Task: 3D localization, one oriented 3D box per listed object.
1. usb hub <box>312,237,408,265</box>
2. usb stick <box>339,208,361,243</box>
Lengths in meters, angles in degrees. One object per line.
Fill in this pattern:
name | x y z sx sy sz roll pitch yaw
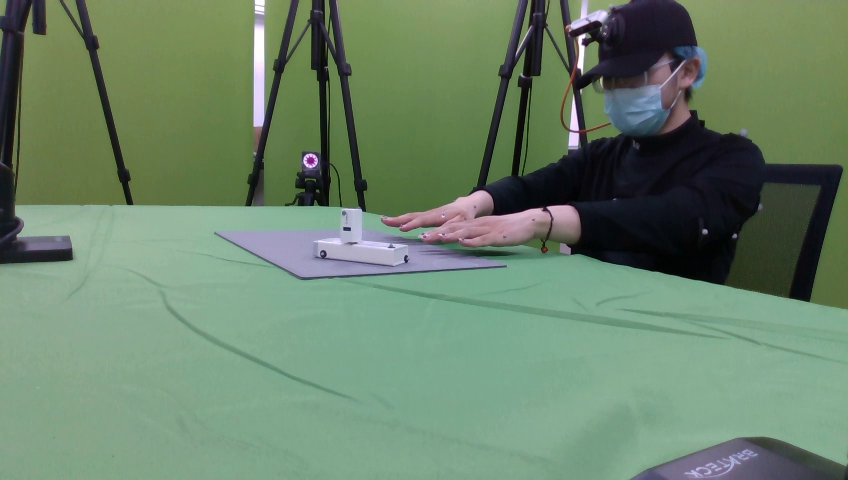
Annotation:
usb hub | -0.088 0.014 0.829 0.125 0.025 0.050 5 8 22
usb stick | -0.100 -0.013 0.815 0.021 0.059 0.027 5 10 20
